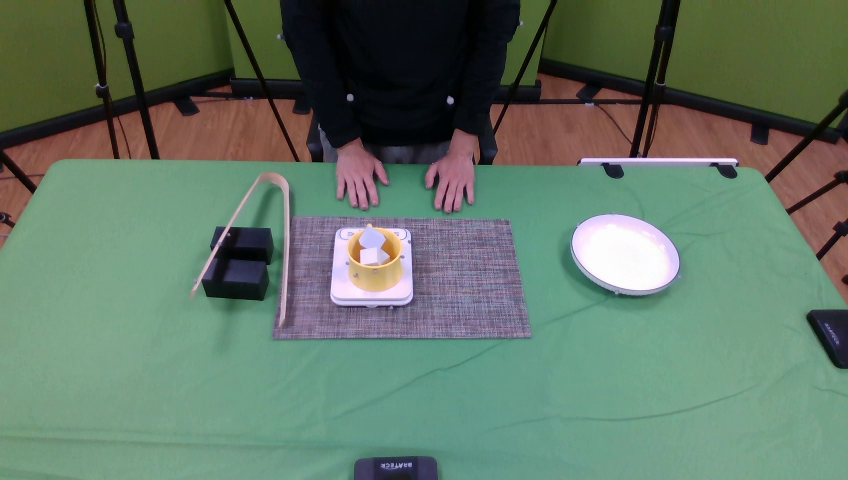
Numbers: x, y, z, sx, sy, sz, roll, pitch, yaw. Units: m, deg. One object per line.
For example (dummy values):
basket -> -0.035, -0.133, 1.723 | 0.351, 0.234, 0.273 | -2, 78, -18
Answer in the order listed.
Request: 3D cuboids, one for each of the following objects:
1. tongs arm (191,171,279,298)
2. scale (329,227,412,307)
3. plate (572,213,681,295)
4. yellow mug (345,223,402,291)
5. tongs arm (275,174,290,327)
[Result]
tongs arm -> -0.344, -0.023, 1.133 | 0.051, 0.026, 0.382 | 24, 36, -15
scale -> -0.099, 0.042, 1.139 | 0.149, 0.032, 0.199 | 1, 46, -4
plate -> 0.392, 0.030, 1.189 | 0.208, 0.039, 0.206 | 2, 46, -2
yellow mug -> -0.092, 0.022, 1.093 | 0.100, 0.064, 0.130 | -8, 46, -10
tongs arm -> -0.273, 0.006, 1.161 | 0.028, 0.028, 0.385 | 12, 41, -23
